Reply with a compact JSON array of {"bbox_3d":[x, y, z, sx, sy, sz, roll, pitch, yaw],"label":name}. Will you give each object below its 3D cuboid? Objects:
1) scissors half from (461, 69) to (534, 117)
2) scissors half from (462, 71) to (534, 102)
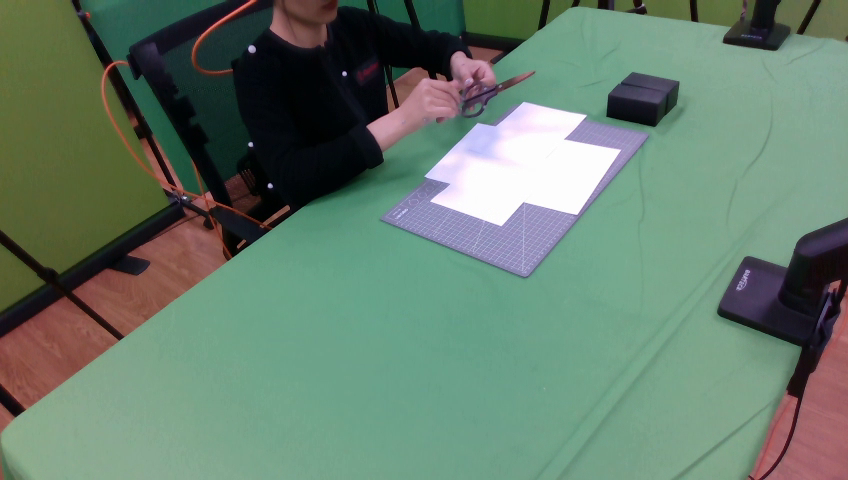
[{"bbox_3d":[0.135,-0.274,1.127,0.174,0.013,0.040,-26,54,40],"label":"scissors half"},{"bbox_3d":[0.136,-0.293,1.134,0.174,0.013,0.040,-6,74,47],"label":"scissors half"}]
